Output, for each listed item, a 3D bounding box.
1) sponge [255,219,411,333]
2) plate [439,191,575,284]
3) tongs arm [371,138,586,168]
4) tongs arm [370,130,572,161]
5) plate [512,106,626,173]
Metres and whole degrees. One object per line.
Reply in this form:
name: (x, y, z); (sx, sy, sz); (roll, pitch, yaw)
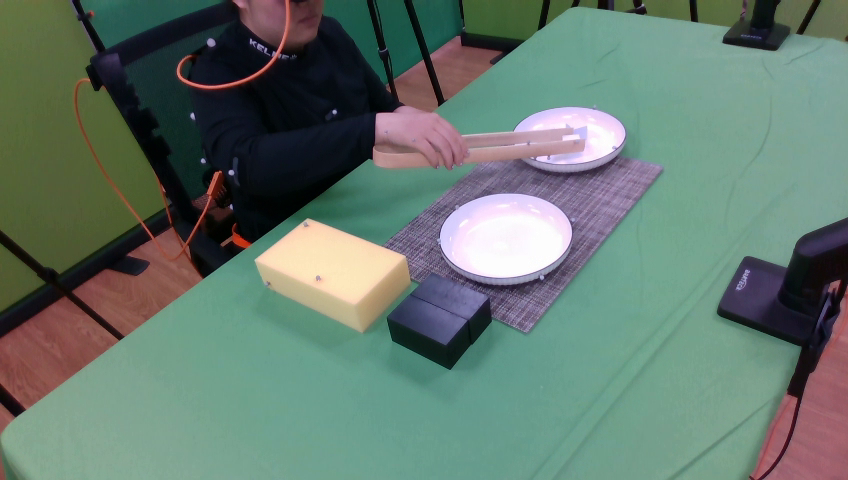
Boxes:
sponge: (-0.139, 0.048, 0.922); (0.205, 0.061, 0.118); (19, 47, 30)
plate: (0.129, -0.002, 0.942); (0.207, 0.039, 0.206); (-5, 40, 5)
tongs arm: (0.101, -0.154, 1.032); (0.387, 0.026, 0.050); (-9, 32, -21)
tongs arm: (0.091, -0.168, 1.056); (0.390, 0.028, 0.028); (-7, 35, -19)
plate: (0.269, -0.185, 1.132); (0.209, 0.038, 0.208); (-5, 40, 5)
